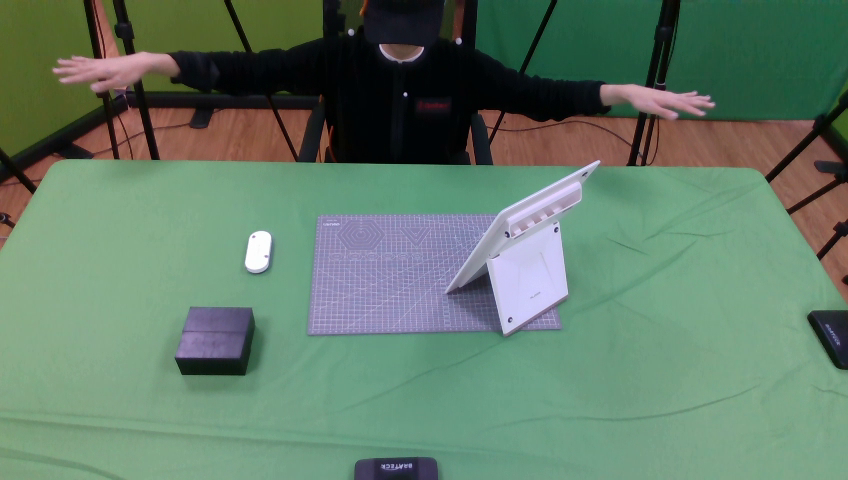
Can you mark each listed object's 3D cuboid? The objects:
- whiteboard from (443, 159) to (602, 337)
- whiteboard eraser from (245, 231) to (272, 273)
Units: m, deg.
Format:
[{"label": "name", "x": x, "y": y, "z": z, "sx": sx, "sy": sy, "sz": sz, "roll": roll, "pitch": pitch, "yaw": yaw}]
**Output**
[{"label": "whiteboard", "x": 0.193, "y": 0.036, "z": 1.018, "sx": 0.217, "sy": 0.306, "sz": 0.143, "roll": -26, "pitch": 72, "yaw": -26}, {"label": "whiteboard eraser", "x": -0.315, "y": 0.023, "z": 1.156, "sx": 0.041, "sy": 0.019, "sz": 0.100, "roll": -1, "pitch": 45, "yaw": -4}]
